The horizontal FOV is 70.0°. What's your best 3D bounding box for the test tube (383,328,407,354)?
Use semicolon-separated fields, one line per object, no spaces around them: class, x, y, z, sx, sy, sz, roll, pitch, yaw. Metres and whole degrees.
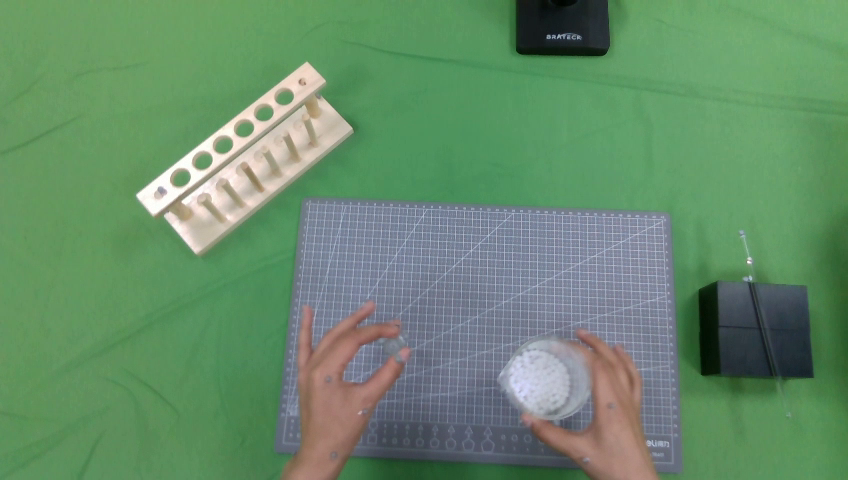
test tube;-0.027;0.097;0.591;0.017;0.150;0.017;0;84;1

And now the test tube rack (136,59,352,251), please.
test tube rack;-0.203;-0.098;0.714;0.242;0.085;0.066;-41;78;-10

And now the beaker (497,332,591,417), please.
beaker;0.110;0.133;0.586;0.084;0.101;0.073;-2;74;2

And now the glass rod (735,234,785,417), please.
glass rod;0.364;0.089;0.657;0.008;0.008;0.198;-6;76;-1
